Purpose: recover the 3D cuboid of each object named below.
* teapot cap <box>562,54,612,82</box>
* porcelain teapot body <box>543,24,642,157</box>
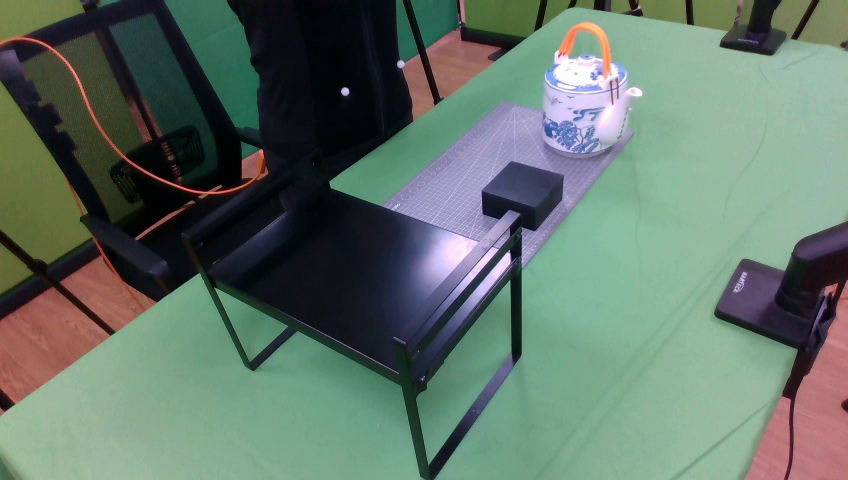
[{"bbox_3d":[0.287,-0.303,1.064,0.085,0.044,0.085,-2,42,2],"label":"teapot cap"},{"bbox_3d":[0.306,-0.258,1.070,0.146,0.226,0.203,-26,44,-20],"label":"porcelain teapot body"}]
